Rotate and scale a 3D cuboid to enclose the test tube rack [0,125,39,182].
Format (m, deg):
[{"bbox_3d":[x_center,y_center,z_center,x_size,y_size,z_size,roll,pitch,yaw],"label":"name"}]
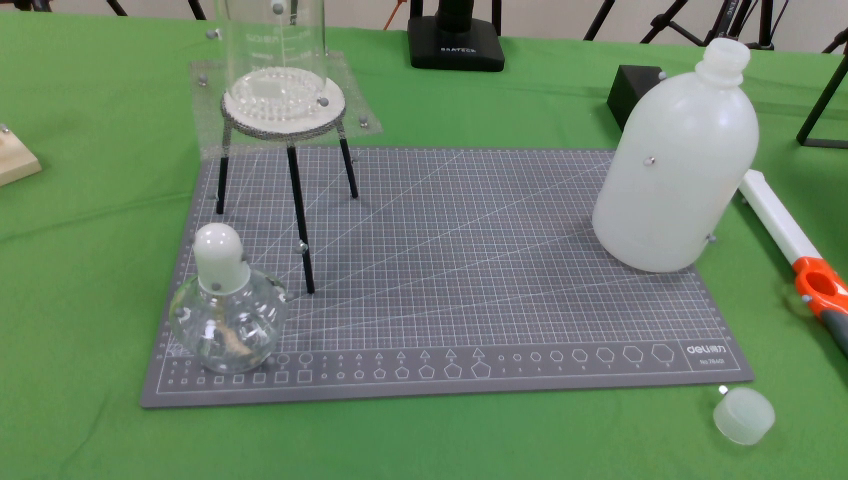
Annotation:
[{"bbox_3d":[-0.460,-0.058,0.479,0.066,0.086,0.242,37,52,26],"label":"test tube rack"}]

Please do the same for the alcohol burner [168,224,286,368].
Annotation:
[{"bbox_3d":[-0.133,0.032,0.407,0.078,0.120,0.077,5,43,-4],"label":"alcohol burner"}]

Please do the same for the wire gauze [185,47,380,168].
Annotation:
[{"bbox_3d":[-0.106,-0.105,0.442,0.122,0.011,0.123,-12,52,-16],"label":"wire gauze"}]

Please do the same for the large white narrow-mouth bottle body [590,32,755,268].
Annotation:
[{"bbox_3d":[0.209,-0.074,0.501,0.102,0.196,0.101,3,45,-3],"label":"large white narrow-mouth bottle body"}]

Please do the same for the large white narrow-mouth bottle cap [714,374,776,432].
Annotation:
[{"bbox_3d":[0.233,0.118,0.440,0.038,0.024,0.037,3,45,-3],"label":"large white narrow-mouth bottle cap"}]

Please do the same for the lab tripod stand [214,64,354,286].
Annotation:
[{"bbox_3d":[-0.108,-0.058,0.486,0.148,0.132,0.147,5,45,-5],"label":"lab tripod stand"}]

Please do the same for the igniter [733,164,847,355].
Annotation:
[{"bbox_3d":[0.346,0.023,0.544,0.057,0.025,0.273,8,44,-14],"label":"igniter"}]

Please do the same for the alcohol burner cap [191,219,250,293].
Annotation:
[{"bbox_3d":[-0.129,0.008,0.381,0.034,0.048,0.033,4,51,-4],"label":"alcohol burner cap"}]

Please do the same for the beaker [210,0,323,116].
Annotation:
[{"bbox_3d":[-0.107,-0.142,0.408,0.084,0.101,0.073,-5,48,-13],"label":"beaker"}]
